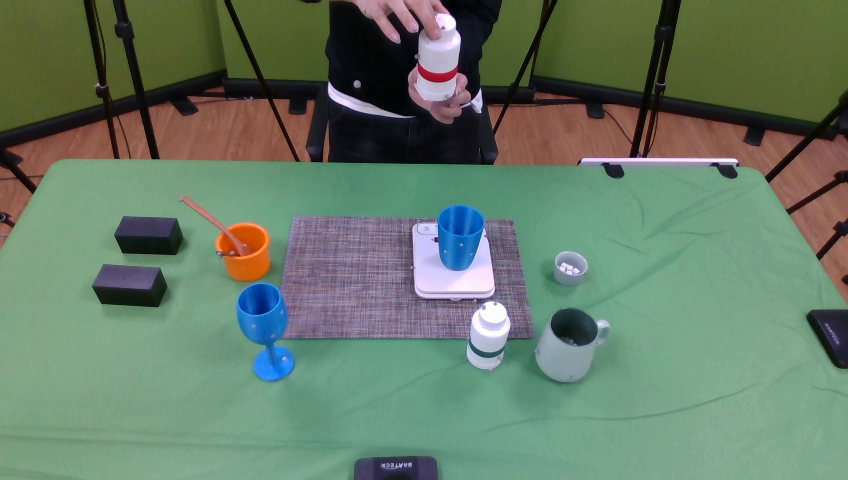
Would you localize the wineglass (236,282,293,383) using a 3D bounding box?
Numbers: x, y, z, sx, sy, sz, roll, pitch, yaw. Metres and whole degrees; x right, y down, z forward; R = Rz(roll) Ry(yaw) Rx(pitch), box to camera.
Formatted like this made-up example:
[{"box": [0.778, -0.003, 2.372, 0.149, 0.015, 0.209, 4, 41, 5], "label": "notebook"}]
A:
[{"box": [-0.243, 0.143, 0.934, 0.074, 0.173, 0.073, 2, 46, -2], "label": "wineglass"}]

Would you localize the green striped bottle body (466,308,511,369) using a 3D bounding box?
[{"box": [0.106, 0.154, 0.988, 0.063, 0.120, 0.063, 2, 46, -2], "label": "green striped bottle body"}]

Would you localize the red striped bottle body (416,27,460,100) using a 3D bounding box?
[{"box": [0.021, -0.277, 0.919, 0.063, 0.120, 0.062, 1, 54, -2], "label": "red striped bottle body"}]

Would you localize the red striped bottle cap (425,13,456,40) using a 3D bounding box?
[{"box": [0.024, -0.309, 0.875, 0.044, 0.018, 0.044, 0, 53, 0], "label": "red striped bottle cap"}]

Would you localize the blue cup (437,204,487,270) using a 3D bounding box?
[{"box": [0.063, 0.001, 1.098, 0.093, 0.101, 0.092, 2, 43, -2], "label": "blue cup"}]

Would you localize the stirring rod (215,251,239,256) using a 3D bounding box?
[{"box": [-0.339, 0.024, 1.059, 0.014, 0.176, 0.006, 15, 86, -6], "label": "stirring rod"}]

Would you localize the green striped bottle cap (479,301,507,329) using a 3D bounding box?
[{"box": [0.109, 0.117, 0.950, 0.044, 0.020, 0.044, 2, 47, -2], "label": "green striped bottle cap"}]

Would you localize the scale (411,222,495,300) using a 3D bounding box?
[{"box": [0.052, 0.031, 1.158, 0.149, 0.032, 0.199, 1, 46, -4], "label": "scale"}]

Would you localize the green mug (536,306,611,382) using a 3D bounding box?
[{"box": [0.250, 0.167, 0.996, 0.125, 0.105, 0.092, -15, 48, -19], "label": "green mug"}]

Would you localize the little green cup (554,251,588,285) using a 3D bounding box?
[{"box": [0.276, 0.055, 1.151, 0.061, 0.039, 0.061, 1, 46, -1], "label": "little green cup"}]

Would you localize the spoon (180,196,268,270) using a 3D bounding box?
[{"box": [-0.360, -0.014, 1.094, 0.021, 0.194, 0.041, -28, 26, 31], "label": "spoon"}]
